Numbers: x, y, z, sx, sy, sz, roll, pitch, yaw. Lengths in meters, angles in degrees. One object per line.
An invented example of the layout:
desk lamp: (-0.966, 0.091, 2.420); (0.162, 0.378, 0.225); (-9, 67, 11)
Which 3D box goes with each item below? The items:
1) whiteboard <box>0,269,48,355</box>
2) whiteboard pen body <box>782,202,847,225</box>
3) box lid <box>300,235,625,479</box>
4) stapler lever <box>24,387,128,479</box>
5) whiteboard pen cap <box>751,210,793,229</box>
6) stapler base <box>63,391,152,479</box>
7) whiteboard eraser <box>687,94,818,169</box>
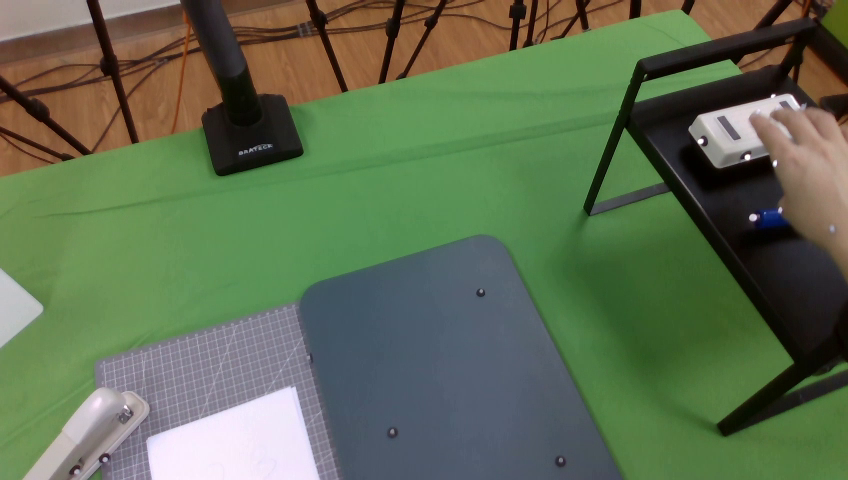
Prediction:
whiteboard: (-0.590, 0.032, 0.591); (0.142, 0.309, 0.216); (21, 58, 36)
whiteboard pen body: (0.377, -0.025, 0.558); (0.141, 0.017, 0.017); (-5, 57, -8)
box lid: (0.031, 0.167, 0.652); (0.264, 0.015, 0.367); (-16, 59, -12)
stapler lever: (-0.339, 0.196, 0.588); (0.026, 0.040, 0.118); (30, 64, 22)
whiteboard pen cap: (0.317, -0.018, 0.551); (0.033, 0.018, 0.018); (2, 56, -9)
stapler base: (-0.337, 0.208, 0.610); (0.041, 0.024, 0.130); (30, 65, 22)
whiteboard eraser: (0.322, -0.105, 0.598); (0.113, 0.042, 0.055); (-15, 57, -11)
